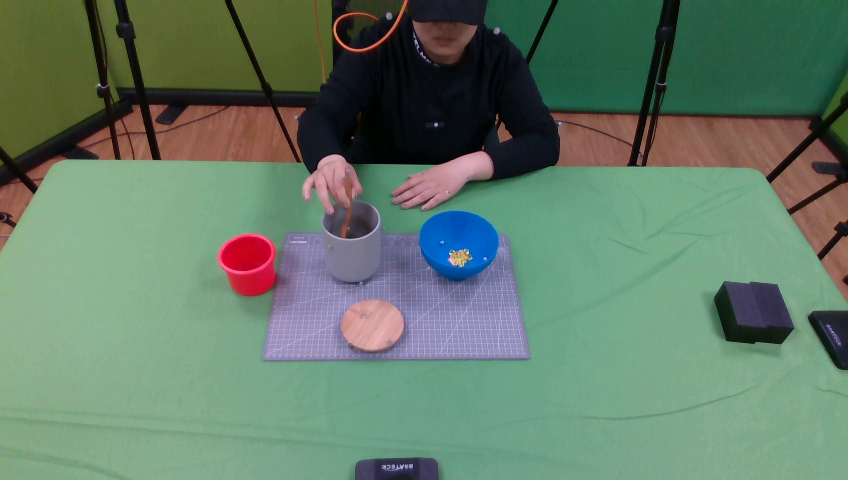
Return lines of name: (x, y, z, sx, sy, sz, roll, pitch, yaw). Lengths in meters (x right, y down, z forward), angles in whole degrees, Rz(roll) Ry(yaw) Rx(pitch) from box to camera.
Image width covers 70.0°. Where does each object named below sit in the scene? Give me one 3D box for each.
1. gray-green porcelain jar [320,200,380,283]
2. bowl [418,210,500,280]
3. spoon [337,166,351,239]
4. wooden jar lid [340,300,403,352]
gray-green porcelain jar: (-0.132, 0.007, 1.106, 0.106, 0.127, 0.105, 2, 46, -2)
bowl: (0.062, 0.022, 1.140, 0.151, 0.077, 0.150, 2, 46, -2)
spoon: (-0.137, -0.049, 1.057, 0.022, 0.194, 0.041, 2, 41, -12)
wooden jar lid: (-0.090, 0.150, 1.046, 0.108, 0.021, 0.107, 3, 47, -3)
